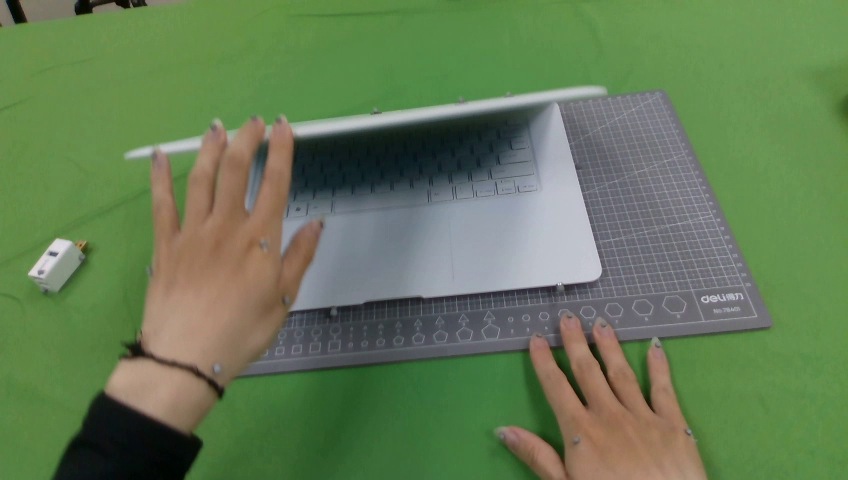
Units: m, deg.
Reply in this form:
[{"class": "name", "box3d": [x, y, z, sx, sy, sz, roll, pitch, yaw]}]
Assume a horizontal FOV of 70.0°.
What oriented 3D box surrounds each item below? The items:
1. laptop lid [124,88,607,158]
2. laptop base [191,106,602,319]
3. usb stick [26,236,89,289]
[{"class": "laptop lid", "box3d": [-0.042, -0.109, 0.534, 0.356, 0.013, 0.240, -6, 14, 5]}, {"class": "laptop base", "box3d": [-0.030, -0.038, 0.581, 0.354, 0.023, 0.233, -6, 54, 4]}, {"class": "usb stick", "box3d": [-0.346, 0.016, 0.578, 0.021, 0.027, 0.059, 8, 50, 18]}]
